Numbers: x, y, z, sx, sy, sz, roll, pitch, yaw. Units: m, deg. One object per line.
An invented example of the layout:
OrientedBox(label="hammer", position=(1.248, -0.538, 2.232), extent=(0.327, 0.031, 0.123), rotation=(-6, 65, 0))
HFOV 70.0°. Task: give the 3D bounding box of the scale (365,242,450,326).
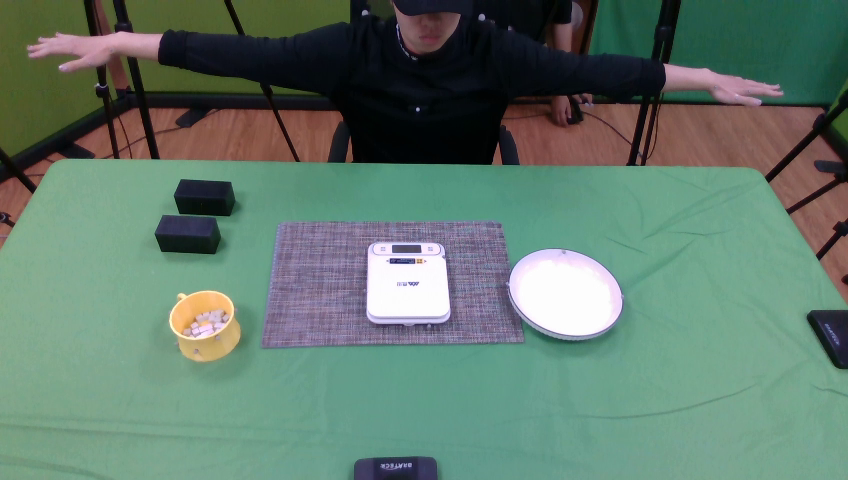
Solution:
OrientedBox(label="scale", position=(-0.032, 0.071, 1.113), extent=(0.149, 0.032, 0.199), rotation=(1, 46, -4))

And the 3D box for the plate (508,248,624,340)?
OrientedBox(label="plate", position=(0.256, 0.101, 1.106), extent=(0.209, 0.038, 0.208), rotation=(2, 45, -2))

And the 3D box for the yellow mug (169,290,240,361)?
OrientedBox(label="yellow mug", position=(-0.373, 0.132, 1.010), extent=(0.130, 0.064, 0.100), rotation=(35, 53, 27))
